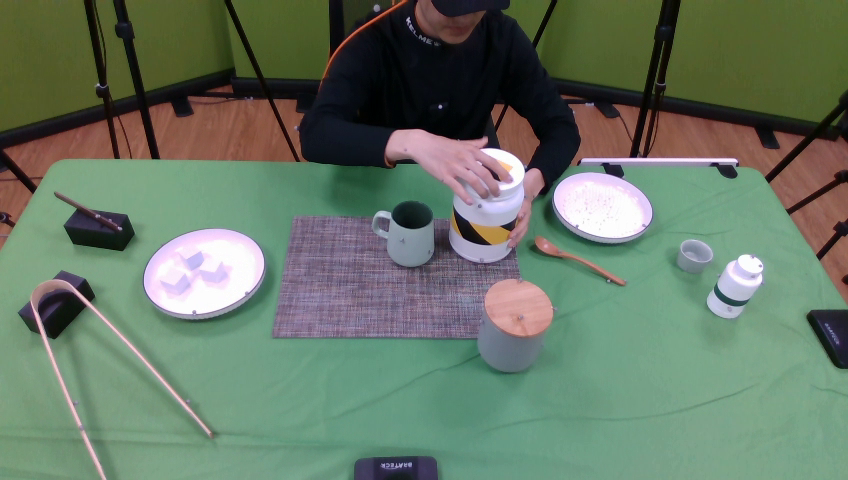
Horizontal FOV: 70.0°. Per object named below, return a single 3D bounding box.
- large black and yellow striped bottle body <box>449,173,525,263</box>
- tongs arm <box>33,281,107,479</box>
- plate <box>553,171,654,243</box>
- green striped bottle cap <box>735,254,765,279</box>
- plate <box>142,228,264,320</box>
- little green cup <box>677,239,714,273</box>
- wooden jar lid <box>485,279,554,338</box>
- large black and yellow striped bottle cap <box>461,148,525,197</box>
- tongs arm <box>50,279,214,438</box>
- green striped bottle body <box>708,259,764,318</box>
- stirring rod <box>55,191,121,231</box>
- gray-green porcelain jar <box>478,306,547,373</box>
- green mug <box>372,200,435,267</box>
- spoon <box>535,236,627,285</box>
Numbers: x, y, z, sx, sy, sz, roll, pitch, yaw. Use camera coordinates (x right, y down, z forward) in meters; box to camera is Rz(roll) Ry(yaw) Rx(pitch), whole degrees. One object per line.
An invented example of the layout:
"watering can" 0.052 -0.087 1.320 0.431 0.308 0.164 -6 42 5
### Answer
"large black and yellow striped bottle body" 0.118 -0.061 1.145 0.131 0.185 0.130 2 46 -2
"tongs arm" -0.517 0.214 0.909 0.051 0.026 0.383 -29 63 -26
"plate" 0.373 -0.066 1.274 0.209 0.038 0.208 2 46 -2
"green striped bottle cap" 0.566 0.046 1.051 0.044 0.020 0.044 0 45 0
"plate" -0.394 0.064 1.095 0.208 0.039 0.206 2 46 -2
"little green cup" 0.530 0.033 1.190 0.061 0.039 0.061 2 47 -2
"wooden jar lid" 0.147 0.108 0.940 0.108 0.021 0.107 4 47 -5
"large black and yellow striped bottle cap" 0.123 -0.123 1.081 0.115 0.019 0.114 3 49 -3
"tongs arm" -0.459 0.178 0.949 0.386 0.028 0.028 37 60 17
"green striped bottle body" 0.563 0.081 1.089 0.063 0.120 0.063 2 46 -2
"stirring rod" -0.632 -0.055 1.138 0.175 0.014 0.006 24 51 19
"gray-green porcelain jar" 0.144 0.148 0.989 0.106 0.127 0.105 2 50 -2
"green mug" -0.040 -0.015 1.146 0.125 0.105 0.092 16 48 12
"spoon" 0.304 0.040 1.178 0.193 0.022 0.041 25 35 20
